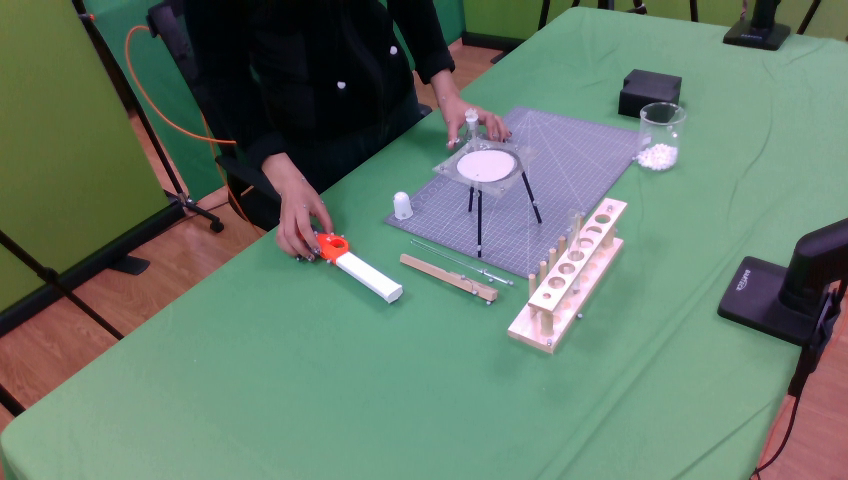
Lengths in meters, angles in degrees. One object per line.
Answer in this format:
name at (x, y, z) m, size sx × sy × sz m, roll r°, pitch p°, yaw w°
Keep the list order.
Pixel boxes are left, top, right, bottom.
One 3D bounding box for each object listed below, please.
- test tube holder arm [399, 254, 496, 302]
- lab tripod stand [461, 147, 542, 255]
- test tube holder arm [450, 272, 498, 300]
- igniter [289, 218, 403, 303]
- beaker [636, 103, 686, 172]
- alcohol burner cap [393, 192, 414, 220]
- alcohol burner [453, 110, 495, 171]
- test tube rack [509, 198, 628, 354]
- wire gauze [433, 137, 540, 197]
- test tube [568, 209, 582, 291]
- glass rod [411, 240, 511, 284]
test tube holder arm at (0.032, 0.055, 0.914) m, size 0.177 × 0.015 × 0.013 m, roll 21°, pitch 15°, yaw 32°
lab tripod stand at (0.114, -0.069, 0.953) m, size 0.148 × 0.132 × 0.147 m, roll -5°, pitch 38°, yaw 4°
test tube holder arm at (0.071, 0.068, 0.895) m, size 0.087 × 0.015 × 0.010 m, roll 21°, pitch 15°, yaw 32°
igniter at (-0.135, 0.026, 0.971) m, size 0.057 × 0.025 × 0.274 m, roll -32°, pitch 45°, yaw -31°
beaker at (0.413, -0.177, 1.055) m, size 0.084 × 0.101 × 0.073 m, roll -28°, pitch 44°, yaw -21°
alcohol burner cap at (-0.038, -0.061, 1.043) m, size 0.034 × 0.048 × 0.033 m, roll -6°, pitch 41°, yaw 5°
alcohol burner at (0.091, -0.187, 1.112) m, size 0.078 × 0.119 × 0.077 m, roll -4°, pitch 41°, yaw 4°
test tube rack at (0.206, 0.039, 0.850) m, size 0.066 × 0.085 × 0.243 m, roll 20°, pitch 48°, yaw 31°
wire gauze at (0.094, -0.116, 0.907) m, size 0.124 × 0.011 × 0.122 m, roll 21°, pitch 47°, yaw 30°
test tube at (0.200, 0.017, 0.799) m, size 0.017 × 0.151 × 0.017 m, roll -8°, pitch 45°, yaw 8°
glass rod at (0.053, 0.033, 0.946) m, size 0.198 × 0.008 × 0.008 m, roll 22°, pitch 50°, yaw 36°
